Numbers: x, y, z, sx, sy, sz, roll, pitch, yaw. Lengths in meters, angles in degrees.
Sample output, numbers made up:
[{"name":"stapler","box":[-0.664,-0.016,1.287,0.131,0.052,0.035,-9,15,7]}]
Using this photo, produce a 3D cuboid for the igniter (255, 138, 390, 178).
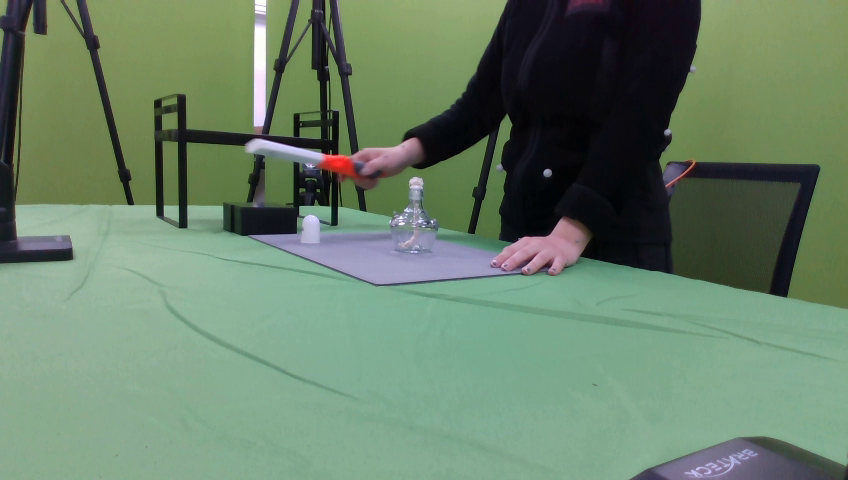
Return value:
[{"name":"igniter","box":[-0.168,-0.141,1.061,0.057,0.025,0.278,-20,-17,39]}]

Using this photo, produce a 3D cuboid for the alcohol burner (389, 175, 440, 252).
[{"name":"alcohol burner","box":[-0.013,-0.041,0.929,0.078,0.119,0.078,4,8,0]}]

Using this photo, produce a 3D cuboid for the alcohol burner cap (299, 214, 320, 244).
[{"name":"alcohol burner cap","box":[-0.184,-0.019,0.978,0.034,0.048,0.034,3,9,0]}]
